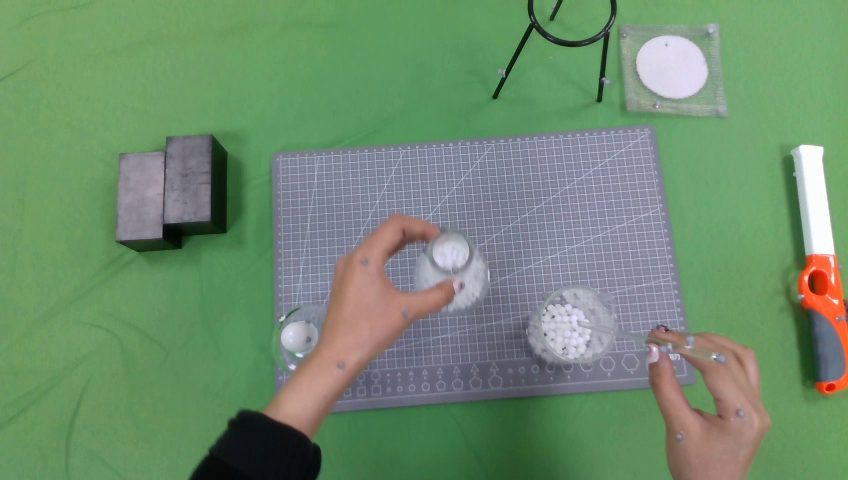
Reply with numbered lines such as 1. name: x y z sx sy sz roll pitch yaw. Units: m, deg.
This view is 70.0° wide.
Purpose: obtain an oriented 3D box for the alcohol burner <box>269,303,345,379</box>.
1. alcohol burner: -0.121 0.099 0.606 0.078 0.119 0.077 -1 76 3

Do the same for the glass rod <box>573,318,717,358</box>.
1. glass rod: 0.167 0.076 0.490 0.008 0.199 0.008 0 89 -12

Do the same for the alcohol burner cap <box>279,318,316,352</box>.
1. alcohol burner cap: -0.121 0.089 0.571 0.034 0.048 0.033 1 81 -4

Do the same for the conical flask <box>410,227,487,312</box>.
1. conical flask: 0.021 0.021 0.537 0.075 0.122 0.075 -1 76 3

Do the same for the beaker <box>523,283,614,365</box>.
1. beaker: 0.144 0.087 0.616 0.084 0.100 0.073 -37 79 -8

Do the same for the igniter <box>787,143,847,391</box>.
1. igniter: 0.433 0.025 0.668 0.057 0.025 0.275 4 77 -10

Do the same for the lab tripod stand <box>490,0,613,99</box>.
1. lab tripod stand: 0.144 -0.220 0.671 0.148 0.132 0.147 0 79 1

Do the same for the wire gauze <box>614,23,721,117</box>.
1. wire gauze: 0.295 -0.208 0.732 0.125 0.011 0.121 2 78 -1
